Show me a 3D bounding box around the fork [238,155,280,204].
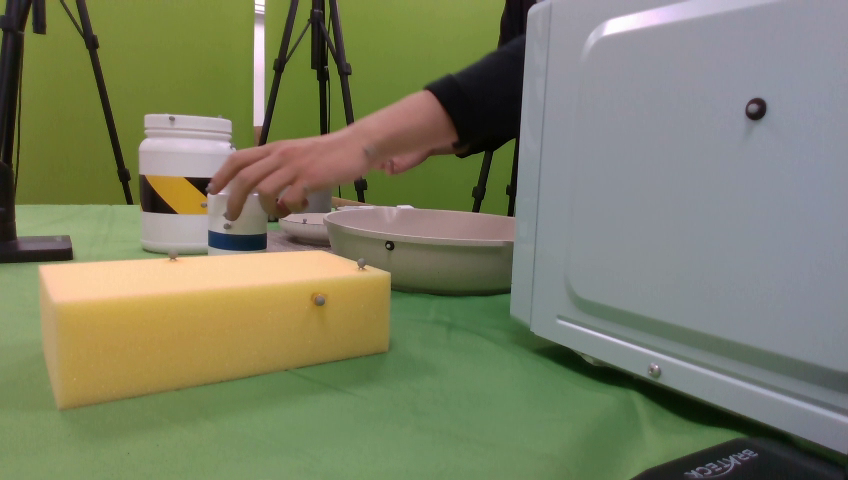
[{"bbox_3d":[-0.396,-0.143,1.486,0.028,0.018,0.208,20,-26,45],"label":"fork"}]

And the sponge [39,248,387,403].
[{"bbox_3d":[-0.142,0.047,0.420,0.208,0.061,0.117,-3,8,-36],"label":"sponge"}]

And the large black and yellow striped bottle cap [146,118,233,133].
[{"bbox_3d":[-0.333,-0.163,0.861,0.115,0.019,0.115,1,9,0],"label":"large black and yellow striped bottle cap"}]

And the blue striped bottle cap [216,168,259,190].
[{"bbox_3d":[-0.202,-0.066,0.657,0.044,0.020,0.044,3,10,0],"label":"blue striped bottle cap"}]

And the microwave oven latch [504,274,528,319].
[{"bbox_3d":[0.100,0.041,0.470,0.079,0.029,0.030,-1,7,-26],"label":"microwave oven latch"}]

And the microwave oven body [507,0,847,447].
[{"bbox_3d":[0.331,-0.042,0.425,0.444,0.260,0.324,-2,8,-31],"label":"microwave oven body"}]

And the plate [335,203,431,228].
[{"bbox_3d":[-0.089,-0.053,1.309,0.208,0.039,0.207,2,8,0],"label":"plate"}]

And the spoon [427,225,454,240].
[{"bbox_3d":[0.024,-0.019,1.124,0.042,0.021,0.193,-16,9,-4],"label":"spoon"}]

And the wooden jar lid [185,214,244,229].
[{"bbox_3d":[-0.404,-0.037,1.169,0.108,0.020,0.108,3,7,0],"label":"wooden jar lid"}]

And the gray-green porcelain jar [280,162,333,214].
[{"bbox_3d":[-0.238,-0.092,1.221,0.106,0.126,0.106,2,7,0],"label":"gray-green porcelain jar"}]

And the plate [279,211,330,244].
[{"bbox_3d":[-0.139,-0.022,1.021,0.209,0.038,0.209,3,8,0],"label":"plate"}]

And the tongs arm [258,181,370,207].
[{"bbox_3d":[-0.241,-0.095,1.373,0.387,0.026,0.050,9,-1,-37],"label":"tongs arm"}]

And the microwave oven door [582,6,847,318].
[{"bbox_3d":[0.295,-0.067,0.569,0.358,0.243,0.039,-3,8,-31],"label":"microwave oven door"}]

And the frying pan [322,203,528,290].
[{"bbox_3d":[0.109,-0.018,0.800,0.490,0.102,0.305,-12,16,-30],"label":"frying pan"}]

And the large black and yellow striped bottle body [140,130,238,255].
[{"bbox_3d":[-0.336,-0.078,0.871,0.131,0.184,0.130,2,8,0],"label":"large black and yellow striped bottle body"}]

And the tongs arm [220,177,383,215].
[{"bbox_3d":[-0.285,-0.103,1.445,0.389,0.027,0.028,9,-4,-23],"label":"tongs arm"}]

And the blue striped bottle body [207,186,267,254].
[{"bbox_3d":[-0.204,-0.016,0.663,0.063,0.120,0.063,2,7,0],"label":"blue striped bottle body"}]
